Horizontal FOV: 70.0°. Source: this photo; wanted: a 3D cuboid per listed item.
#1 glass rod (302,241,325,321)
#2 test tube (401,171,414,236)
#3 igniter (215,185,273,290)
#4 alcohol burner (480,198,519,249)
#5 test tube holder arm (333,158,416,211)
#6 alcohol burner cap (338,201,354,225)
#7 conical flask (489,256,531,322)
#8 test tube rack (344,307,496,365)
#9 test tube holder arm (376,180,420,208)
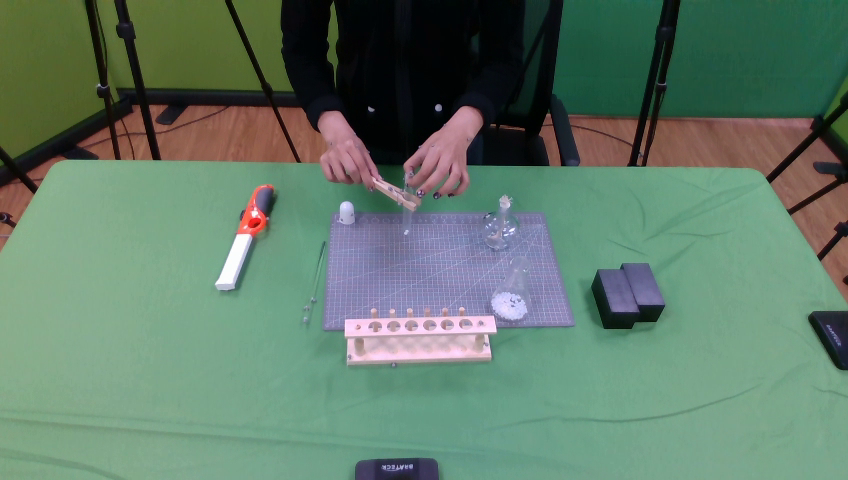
[{"bbox_3d":[-0.204,0.071,1.124,0.008,0.008,0.198,4,44,0],"label":"glass rod"},{"bbox_3d":[-0.030,-0.060,1.055,0.017,0.151,0.017,3,49,-3],"label":"test tube"},{"bbox_3d":[-0.348,-0.014,1.182,0.057,0.025,0.275,-1,45,8],"label":"igniter"},{"bbox_3d":[0.150,-0.038,1.182,0.078,0.119,0.077,3,47,-3],"label":"alcohol burner"},{"bbox_3d":[-0.088,-0.099,1.062,0.178,0.015,0.013,30,46,17],"label":"test tube holder arm"},{"bbox_3d":[-0.159,-0.056,1.224,0.034,0.048,0.033,2,46,-2],"label":"alcohol burner cap"},{"bbox_3d":[0.158,0.081,1.061,0.075,0.122,0.075,2,46,-2],"label":"conical flask"},{"bbox_3d":[-0.009,0.154,1.007,0.242,0.085,0.066,-1,46,-5],"label":"test tube rack"},{"bbox_3d":[-0.047,-0.081,1.054,0.087,0.015,0.010,25,45,12],"label":"test tube holder arm"}]
